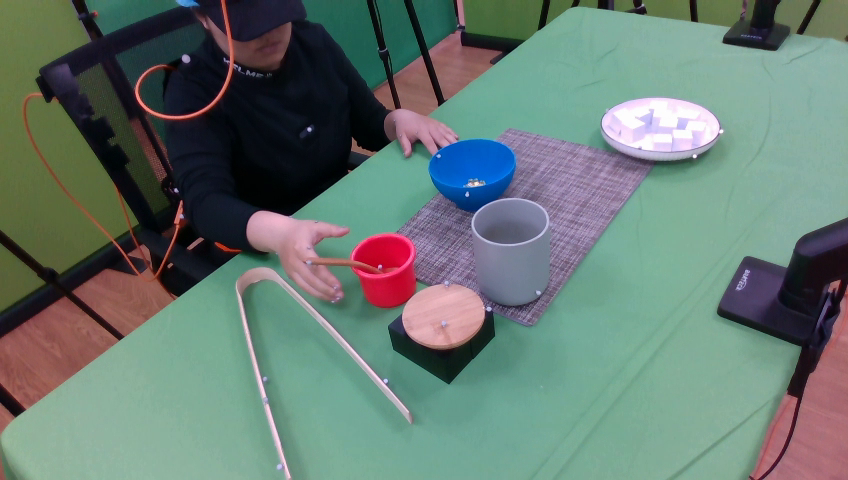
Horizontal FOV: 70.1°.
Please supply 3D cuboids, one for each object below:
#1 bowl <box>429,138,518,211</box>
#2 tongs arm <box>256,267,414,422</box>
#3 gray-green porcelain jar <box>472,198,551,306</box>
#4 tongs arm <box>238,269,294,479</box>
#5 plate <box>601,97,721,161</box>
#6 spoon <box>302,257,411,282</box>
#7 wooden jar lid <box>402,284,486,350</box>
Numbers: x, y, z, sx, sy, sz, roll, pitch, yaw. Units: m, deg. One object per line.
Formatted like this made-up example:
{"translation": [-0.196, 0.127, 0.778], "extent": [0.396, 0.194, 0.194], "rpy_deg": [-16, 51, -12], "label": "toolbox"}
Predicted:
{"translation": [0.087, -0.104, 1.043], "extent": [0.151, 0.077, 0.150], "rpy_deg": [-5, 40, 5], "label": "bowl"}
{"translation": [-0.137, 0.132, 0.853], "extent": [0.028, 0.028, 0.384], "rpy_deg": [-34, 45, -23], "label": "tongs arm"}
{"translation": [0.125, 0.021, 0.850], "extent": [0.106, 0.127, 0.105], "rpy_deg": [-6, 40, 5], "label": "gray-green porcelain jar"}
{"translation": [-0.208, 0.163, 0.824], "extent": [0.051, 0.026, 0.381], "rpy_deg": [-22, 40, -15], "label": "tongs arm"}
{"translation": [0.436, -0.203, 1.126], "extent": [0.209, 0.038, 0.208], "rpy_deg": [-5, 39, 5], "label": "plate"}
{"translation": [-0.092, 0.038, 0.865], "extent": [0.195, 0.021, 0.041], "rpy_deg": [16, 14, -46], "label": "spoon"}
{"translation": [0.026, 0.101, 0.786], "extent": [0.108, 0.021, 0.108], "rpy_deg": [-5, 39, 4], "label": "wooden jar lid"}
